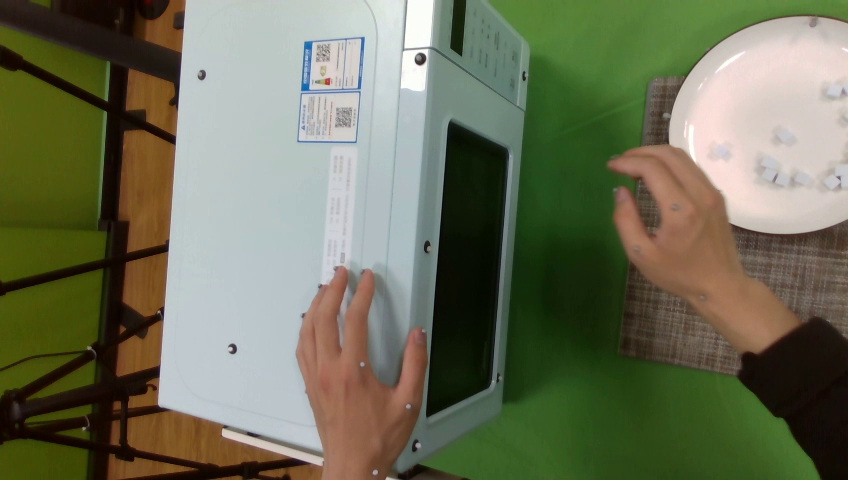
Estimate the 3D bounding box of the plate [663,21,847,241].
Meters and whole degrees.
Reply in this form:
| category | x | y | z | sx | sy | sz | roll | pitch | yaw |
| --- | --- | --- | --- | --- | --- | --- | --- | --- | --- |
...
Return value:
| category | x | y | z | sx | sy | sz | roll | pitch | yaw |
| --- | --- | --- | --- | --- | --- | --- | --- | --- | --- |
| plate | 0.343 | -0.101 | 0.583 | 0.208 | 0.038 | 0.209 | -1 | 88 | 27 |

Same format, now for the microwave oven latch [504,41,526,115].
| category | x | y | z | sx | sy | sz | roll | pitch | yaw |
| --- | --- | --- | --- | --- | --- | --- | --- | --- | --- |
| microwave oven latch | 0.100 | -0.185 | 0.697 | 0.030 | 0.029 | 0.079 | 5 | 92 | 27 |

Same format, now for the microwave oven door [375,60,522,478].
| category | x | y | z | sx | sy | sz | roll | pitch | yaw |
| --- | --- | --- | --- | --- | --- | --- | --- | --- | --- |
| microwave oven door | 0.034 | 0.029 | 0.611 | 0.039 | 0.245 | 0.355 | 4 | 90 | 28 |

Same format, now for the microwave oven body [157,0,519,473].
| category | x | y | z | sx | sy | sz | roll | pitch | yaw |
| --- | --- | --- | --- | --- | --- | --- | --- | --- | --- |
| microwave oven body | -0.089 | -0.022 | 0.682 | 0.324 | 0.261 | 0.441 | 4 | 91 | 27 |
